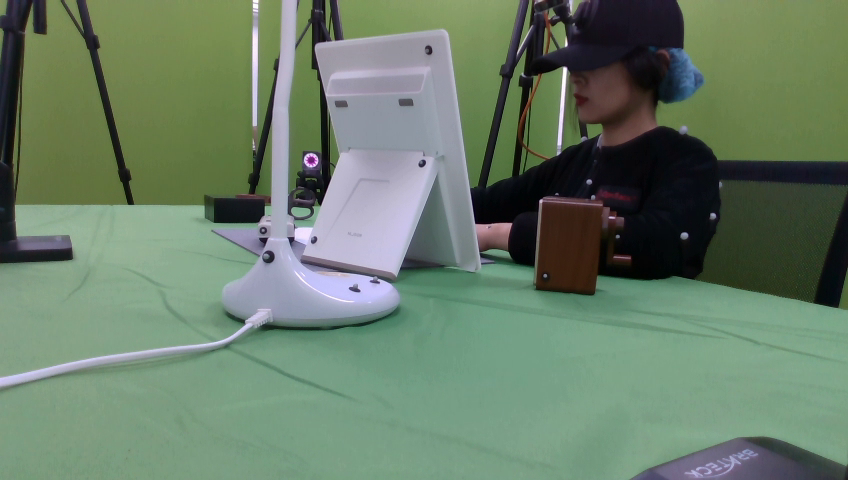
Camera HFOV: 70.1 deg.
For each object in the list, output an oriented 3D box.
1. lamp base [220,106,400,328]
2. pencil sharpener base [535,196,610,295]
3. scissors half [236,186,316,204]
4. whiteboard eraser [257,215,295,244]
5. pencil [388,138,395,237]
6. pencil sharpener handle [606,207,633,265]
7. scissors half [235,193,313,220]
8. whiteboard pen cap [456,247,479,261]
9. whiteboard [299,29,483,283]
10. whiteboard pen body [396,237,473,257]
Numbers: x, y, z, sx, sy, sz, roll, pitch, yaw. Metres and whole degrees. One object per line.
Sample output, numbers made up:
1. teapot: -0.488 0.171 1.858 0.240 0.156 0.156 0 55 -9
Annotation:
1. lamp base: -0.101 -0.023 0.531 0.160 0.180 0.179 4 10 10
2. pencil sharpener base: 0.172 0.005 0.695 0.076 0.107 0.061 5 7 16
3. scissors half: -0.320 -0.097 1.316 0.176 0.040 0.013 -3 11 -29
4. whiteboard eraser: -0.232 -0.016 0.951 0.056 0.042 0.112 2 7 -12
5. pencil: -0.061 -0.099 1.114 0.012 0.193 0.012 0 -15 0
6. pencil sharpener handle: 0.223 -0.004 0.683 0.030 0.068 0.036 5 21 16
7. scissors half: -0.324 -0.077 1.319 0.176 0.040 0.012 17 6 -32
8. whiteboard pen cap: 0.060 0.020 0.851 0.033 0.018 0.018 10 10 37
9. whiteboard: -0.074 -0.082 0.742 0.216 0.305 0.144 9 30 38
10. whiteboard pen body: 0.014 0.012 0.886 0.140 0.017 0.017 10 11 38
